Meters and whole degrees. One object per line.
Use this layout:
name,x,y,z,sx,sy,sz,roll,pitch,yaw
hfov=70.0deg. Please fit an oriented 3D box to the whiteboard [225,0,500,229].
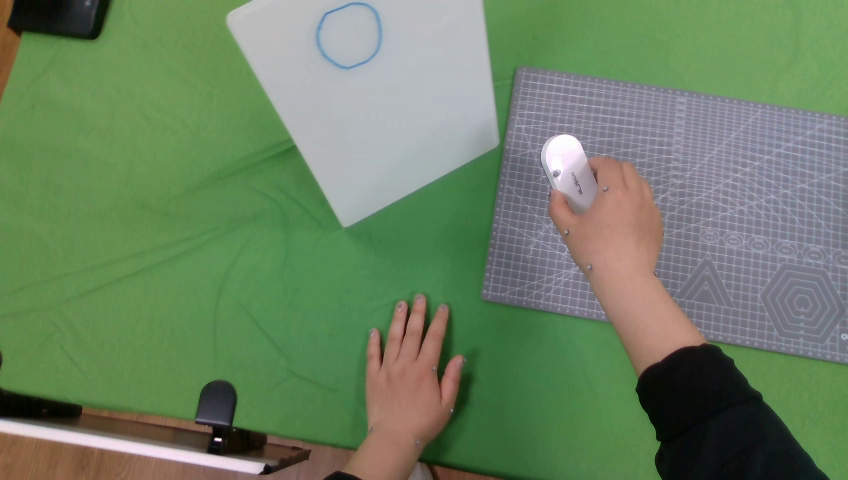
whiteboard,-0.060,-0.192,0.630,0.217,0.308,0.142,-29,58,-6

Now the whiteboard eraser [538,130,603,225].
whiteboard eraser,0.144,-0.061,0.597,0.041,0.018,0.102,-31,107,-10
